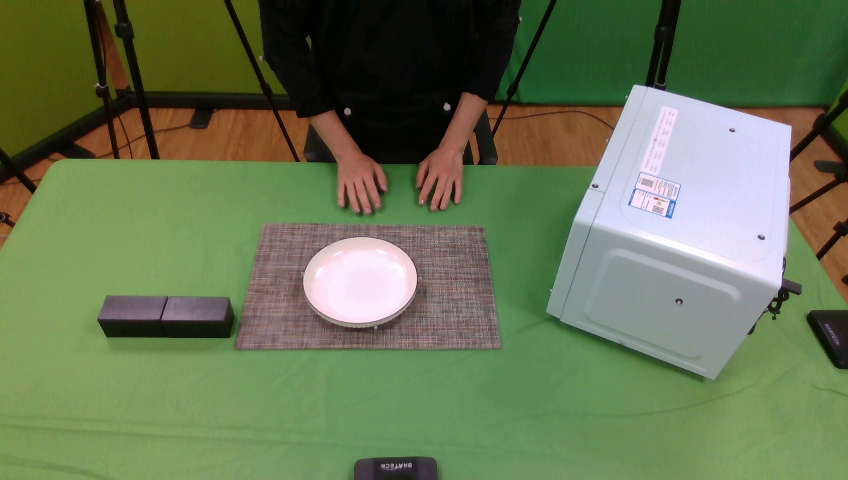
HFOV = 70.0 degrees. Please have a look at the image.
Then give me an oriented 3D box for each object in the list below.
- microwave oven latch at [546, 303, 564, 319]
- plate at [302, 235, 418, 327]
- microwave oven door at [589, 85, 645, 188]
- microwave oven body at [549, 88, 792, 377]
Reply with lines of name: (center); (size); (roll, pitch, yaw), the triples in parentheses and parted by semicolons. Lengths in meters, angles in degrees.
microwave oven latch: (0.242, 0.102, 1.081); (0.030, 0.029, 0.079); (21, 48, 17)
plate: (-0.114, 0.077, 1.098); (0.208, 0.039, 0.206); (2, 46, -2)
microwave oven door: (0.342, -0.107, 1.149); (0.039, 0.245, 0.354); (20, 48, 15)
microwave oven body: (0.456, -0.028, 1.088); (0.325, 0.261, 0.440); (20, 47, 16)
